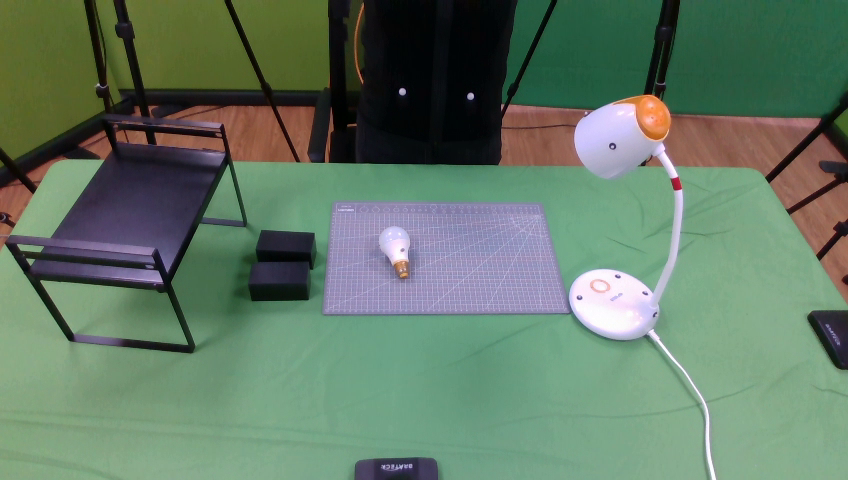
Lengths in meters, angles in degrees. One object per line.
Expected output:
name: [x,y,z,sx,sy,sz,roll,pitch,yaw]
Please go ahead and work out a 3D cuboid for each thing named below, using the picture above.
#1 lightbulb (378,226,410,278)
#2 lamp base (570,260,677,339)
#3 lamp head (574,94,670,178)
lightbulb: [-0.051,0.023,1.148,0.059,0.060,0.107,-11,63,-14]
lamp base: [0.360,0.067,1.047,0.178,0.181,0.160,38,55,26]
lamp head: [0.304,-0.158,0.898,0.113,0.123,0.112,5,79,-25]
